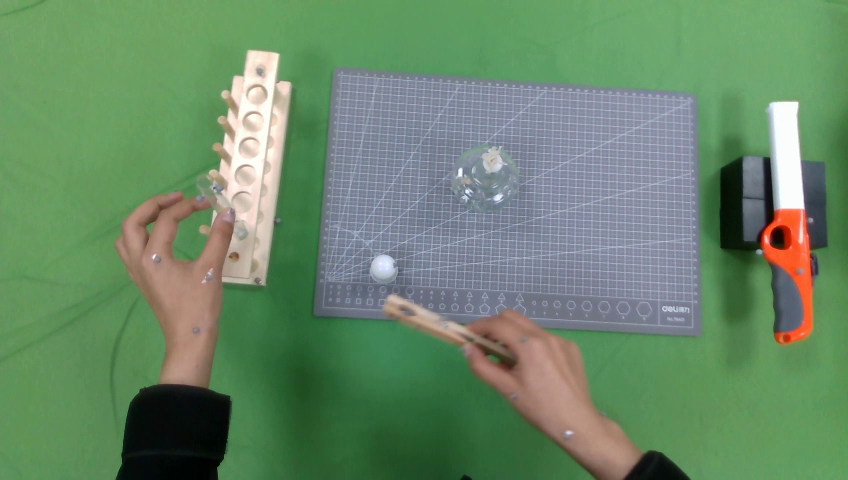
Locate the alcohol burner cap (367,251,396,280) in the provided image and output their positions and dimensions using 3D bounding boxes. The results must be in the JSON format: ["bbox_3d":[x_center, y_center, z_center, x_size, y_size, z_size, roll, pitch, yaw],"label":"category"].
[{"bbox_3d":[-0.048,0.027,0.678,0.034,0.048,0.033,1,81,-3],"label":"alcohol burner cap"}]

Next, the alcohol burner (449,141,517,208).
[{"bbox_3d":[0.067,-0.076,0.665,0.078,0.119,0.077,0,82,-2],"label":"alcohol burner"}]

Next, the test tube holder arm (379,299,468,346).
[{"bbox_3d":[0.000,0.077,0.564,0.088,0.015,0.010,21,60,3],"label":"test tube holder arm"}]

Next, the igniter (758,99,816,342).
[{"bbox_3d":[0.404,-0.025,0.678,0.057,0.025,0.275,1,80,9],"label":"igniter"}]

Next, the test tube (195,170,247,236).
[{"bbox_3d":[-0.191,-0.028,0.585,0.017,0.151,0.017,1,70,-2],"label":"test tube"}]

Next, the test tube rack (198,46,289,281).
[{"bbox_3d":[-0.202,-0.081,0.665,0.067,0.085,0.241,6,81,-3],"label":"test tube rack"}]

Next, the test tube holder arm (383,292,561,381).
[{"bbox_3d":[0.044,0.090,0.564,0.178,0.015,0.013,23,60,3],"label":"test tube holder arm"}]
